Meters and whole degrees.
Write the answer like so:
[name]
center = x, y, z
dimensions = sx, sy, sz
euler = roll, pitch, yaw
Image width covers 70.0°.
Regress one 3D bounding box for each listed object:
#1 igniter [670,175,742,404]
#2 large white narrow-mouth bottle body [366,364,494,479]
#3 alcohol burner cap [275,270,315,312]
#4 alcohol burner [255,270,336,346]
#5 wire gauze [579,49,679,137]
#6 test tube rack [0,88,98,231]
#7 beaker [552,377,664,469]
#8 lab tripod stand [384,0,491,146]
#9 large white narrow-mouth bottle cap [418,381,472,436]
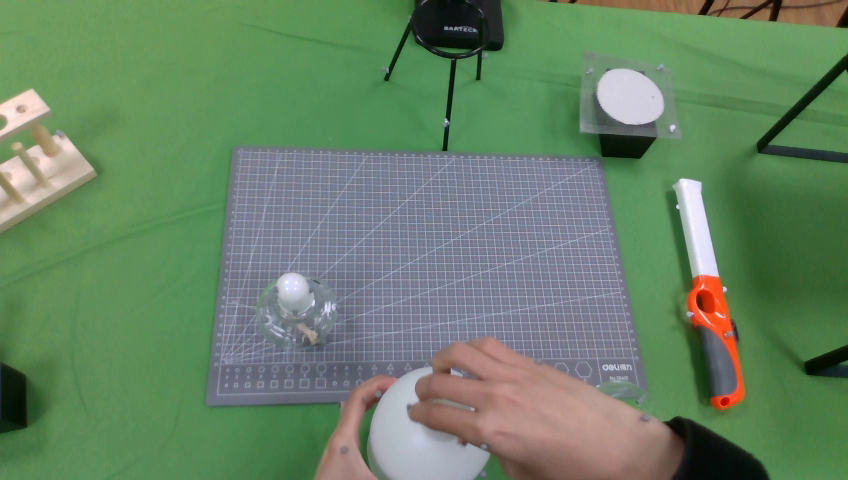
[igniter]
center = 0.321, 0.049, 0.695
dimensions = 0.057, 0.025, 0.274
euler = 8, 64, -16
[large white narrow-mouth bottle body]
center = 0.004, 0.159, 0.508
dimensions = 0.102, 0.196, 0.101
euler = 3, 64, -6
[alcohol burner cap]
center = -0.118, 0.045, 0.545
dimensions = 0.034, 0.048, 0.033
euler = 1, 70, -3
[alcohol burner]
center = -0.122, 0.059, 0.578
dimensions = 0.078, 0.120, 0.077
euler = 4, 63, -8
[wire gauze]
center = 0.251, -0.181, 0.749
dimensions = 0.121, 0.011, 0.124
euler = 8, 64, -4
[test tube rack]
center = -0.466, -0.044, 0.598
dimensions = 0.242, 0.085, 0.066
euler = -39, 75, -22
[beaker]
center = 0.166, 0.176, 0.575
dimensions = 0.084, 0.101, 0.074
euler = 31, 65, 9
[lab tripod stand]
center = 0.024, -0.207, 0.716
dimensions = 0.149, 0.132, 0.147
euler = 4, 65, -8
[large white narrow-mouth bottle cap]
center = 0.015, 0.120, 0.431
dimensions = 0.038, 0.024, 0.037
euler = 3, 64, -6
